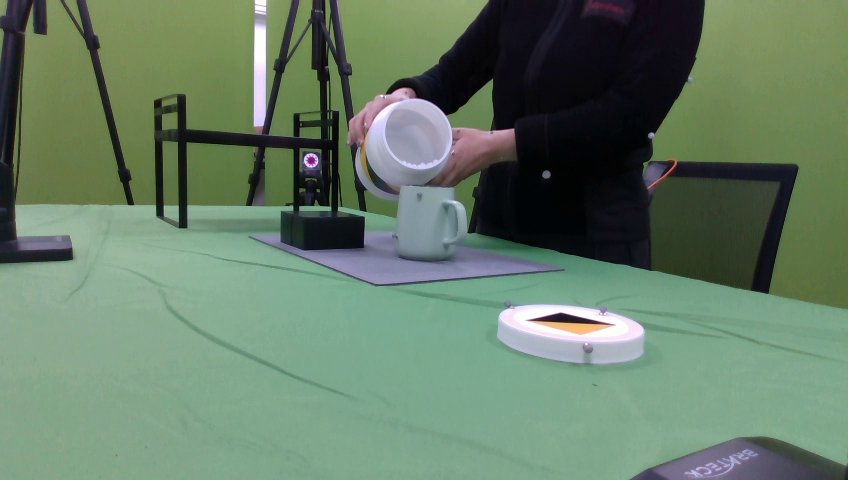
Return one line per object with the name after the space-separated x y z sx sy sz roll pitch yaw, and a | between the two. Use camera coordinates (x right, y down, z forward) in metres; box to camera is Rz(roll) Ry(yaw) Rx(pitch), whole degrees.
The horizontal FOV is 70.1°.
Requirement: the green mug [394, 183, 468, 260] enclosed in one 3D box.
0.015 -0.026 0.857 0.093 0.105 0.124 -4 9 -41 | green mug

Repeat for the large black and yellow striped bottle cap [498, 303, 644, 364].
0.117 0.072 0.486 0.115 0.019 0.115 1 8 0 | large black and yellow striped bottle cap

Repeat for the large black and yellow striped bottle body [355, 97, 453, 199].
-0.033 -0.145 0.966 0.131 0.130 0.183 0 -8 -16 | large black and yellow striped bottle body
